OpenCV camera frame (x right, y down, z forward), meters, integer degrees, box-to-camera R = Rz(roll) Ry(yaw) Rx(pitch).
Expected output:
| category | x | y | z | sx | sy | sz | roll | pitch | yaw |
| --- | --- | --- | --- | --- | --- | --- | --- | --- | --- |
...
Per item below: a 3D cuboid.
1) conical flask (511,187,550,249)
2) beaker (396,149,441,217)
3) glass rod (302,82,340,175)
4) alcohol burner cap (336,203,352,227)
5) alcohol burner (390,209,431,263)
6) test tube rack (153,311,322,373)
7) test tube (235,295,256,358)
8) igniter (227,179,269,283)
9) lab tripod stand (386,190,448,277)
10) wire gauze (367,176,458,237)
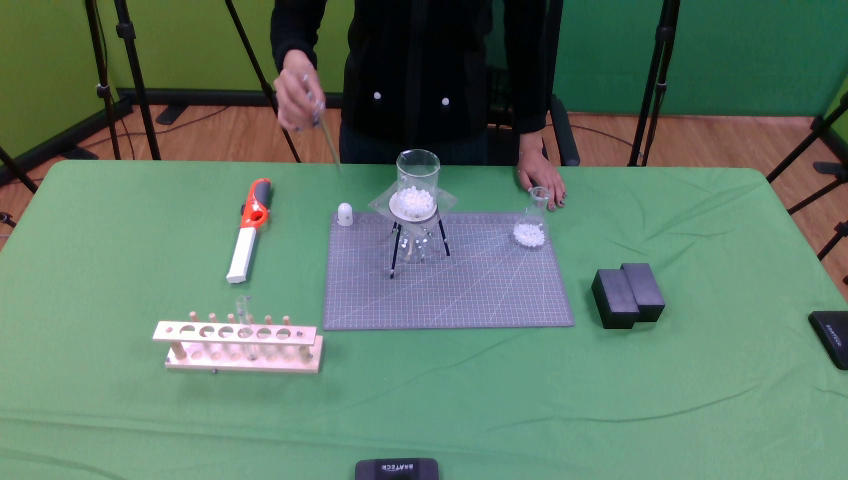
| category | x | y | z | sx | sy | sz | roll | pitch | yaw |
| --- | --- | --- | --- | --- | --- | --- | --- | --- | --- |
| conical flask | 0.217 | -0.048 | 1.190 | 0.075 | 0.122 | 0.075 | 2 | 46 | -2 |
| beaker | -0.015 | -0.098 | 1.053 | 0.074 | 0.101 | 0.083 | -31 | 55 | -30 |
| glass rod | -0.164 | -0.174 | 0.978 | 0.008 | 0.201 | 0.008 | -5 | 52 | 7 |
| alcohol burner cap | -0.162 | -0.053 | 1.221 | 0.034 | 0.048 | 0.033 | 2 | 47 | -2 |
| alcohol burner | -0.024 | -0.014 | 1.144 | 0.078 | 0.119 | 0.077 | 4 | 45 | -3 |
| test tube rack | -0.293 | 0.160 | 0.978 | 0.242 | 0.085 | 0.066 | 3 | 46 | -2 |
| test tube | -0.274 | 0.136 | 0.933 | 0.017 | 0.151 | 0.017 | 4 | 46 | -4 |
| igniter | -0.345 | -0.027 | 1.195 | 0.057 | 0.025 | 0.274 | -6 | 46 | 5 |
| lab tripod stand | -0.022 | -0.018 | 1.135 | 0.148 | 0.132 | 0.147 | 3 | 44 | -3 |
| wire gauze | -0.020 | -0.066 | 1.089 | 0.124 | 0.011 | 0.121 | 27 | 47 | 22 |
